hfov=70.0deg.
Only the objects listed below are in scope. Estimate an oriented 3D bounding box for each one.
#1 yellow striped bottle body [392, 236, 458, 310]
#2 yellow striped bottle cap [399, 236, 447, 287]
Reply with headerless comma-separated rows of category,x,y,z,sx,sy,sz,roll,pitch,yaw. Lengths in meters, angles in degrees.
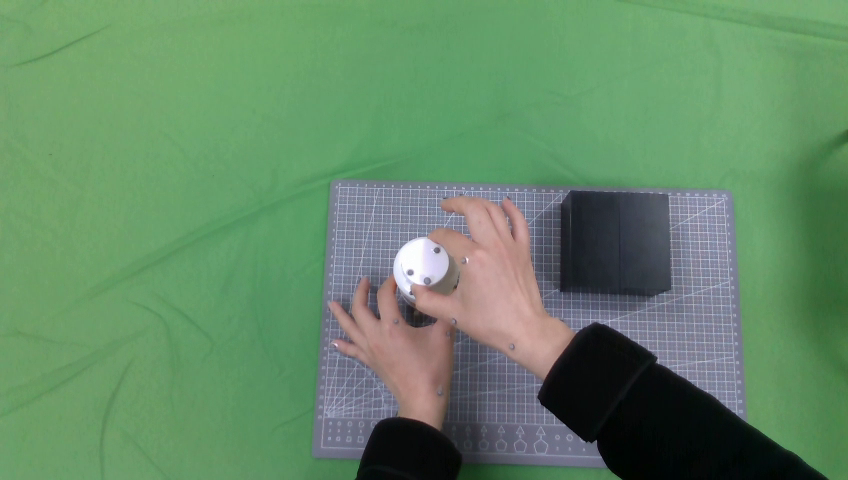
yellow striped bottle body,0.001,0.033,0.602,0.063,0.121,0.062,0,78,1
yellow striped bottle cap,-0.001,0.019,0.544,0.044,0.019,0.044,0,80,-2
